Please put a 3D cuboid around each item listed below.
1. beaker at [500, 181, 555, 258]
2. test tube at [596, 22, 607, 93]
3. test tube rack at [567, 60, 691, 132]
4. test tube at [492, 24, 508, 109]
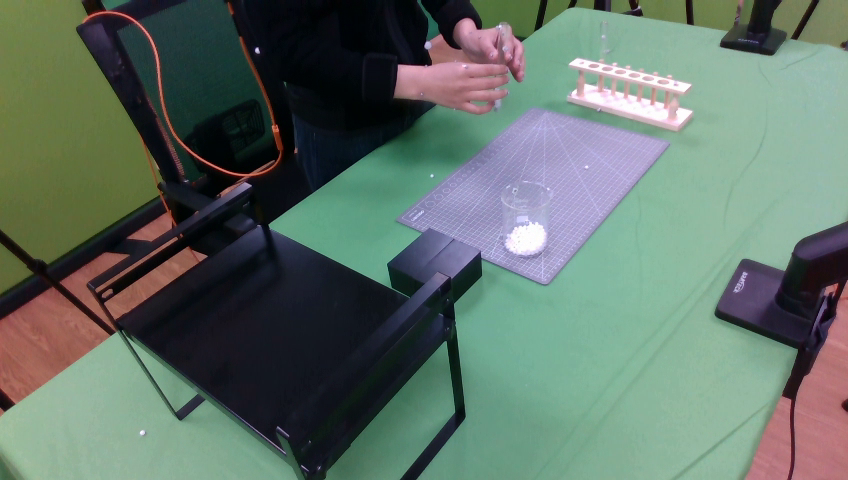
[{"bbox_3d":[0.158,-0.030,0.922,0.084,0.100,0.073,-13,41,-8],"label":"beaker"},{"bbox_3d":[0.363,-0.372,1.240,0.017,0.151,0.017,-6,40,5],"label":"test tube"},{"bbox_3d":[0.411,-0.299,1.217,0.240,0.085,0.067,26,51,34],"label":"test tube rack"},{"bbox_3d":[0.128,-0.291,1.027,0.017,0.151,0.017,0,41,0],"label":"test tube"}]
